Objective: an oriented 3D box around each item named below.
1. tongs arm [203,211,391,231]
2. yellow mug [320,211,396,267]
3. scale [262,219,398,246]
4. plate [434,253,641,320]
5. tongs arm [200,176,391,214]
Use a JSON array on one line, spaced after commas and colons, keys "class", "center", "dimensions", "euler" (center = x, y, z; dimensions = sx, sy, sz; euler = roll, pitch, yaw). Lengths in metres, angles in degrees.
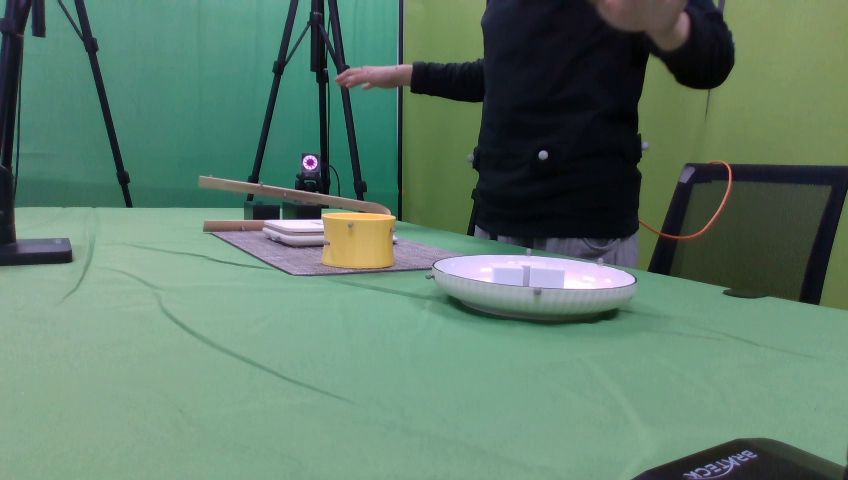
[{"class": "tongs arm", "center": [-0.231, -0.036, 1.186], "dimensions": [0.390, 0.028, 0.028], "euler": [-3, 33, -33]}, {"class": "yellow mug", "center": [-0.089, -0.005, 0.825], "dimensions": [0.100, 0.064, 0.130], "euler": [3, 7, -3]}, {"class": "scale", "center": [-0.160, -0.016, 1.028], "dimensions": [0.202, 0.031, 0.148], "euler": [-1, 9, -32]}, {"class": "plate", "center": [0.114, 0.047, 0.625], "dimensions": [0.208, 0.039, 0.207], "euler": [2, 7, 0]}, {"class": "tongs arm", "center": [-0.258, -0.084, 1.245], "dimensions": [0.387, 0.026, 0.050], "euler": [6, 32, -23]}]
